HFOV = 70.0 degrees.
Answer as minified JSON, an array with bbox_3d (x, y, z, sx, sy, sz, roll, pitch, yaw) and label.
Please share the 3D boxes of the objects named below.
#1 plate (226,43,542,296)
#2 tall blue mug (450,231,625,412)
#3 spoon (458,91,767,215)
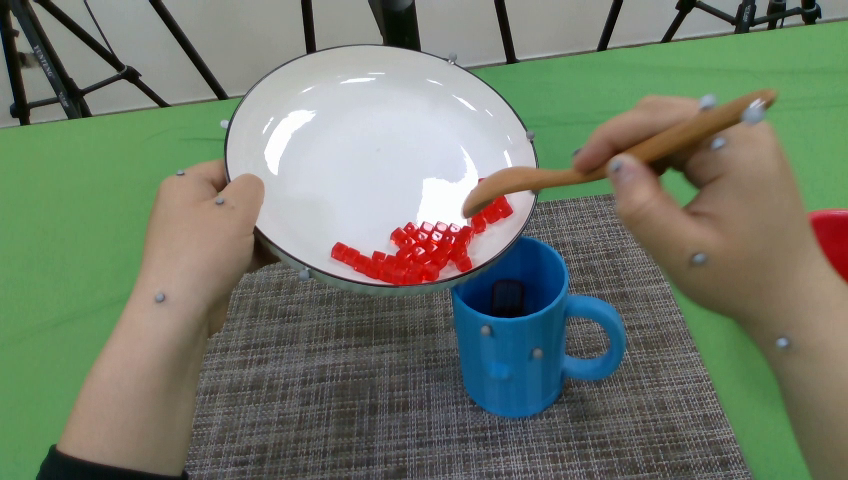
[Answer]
[{"bbox_3d":[-0.024,-0.051,0.413,0.208,0.039,0.205,5,57,-7],"label":"plate"},{"bbox_3d":[0.075,0.055,0.420,0.107,0.109,0.077,-11,43,-1],"label":"tall blue mug"},{"bbox_3d":[0.073,-0.035,0.290,0.041,0.022,0.193,-32,11,-28],"label":"spoon"}]
